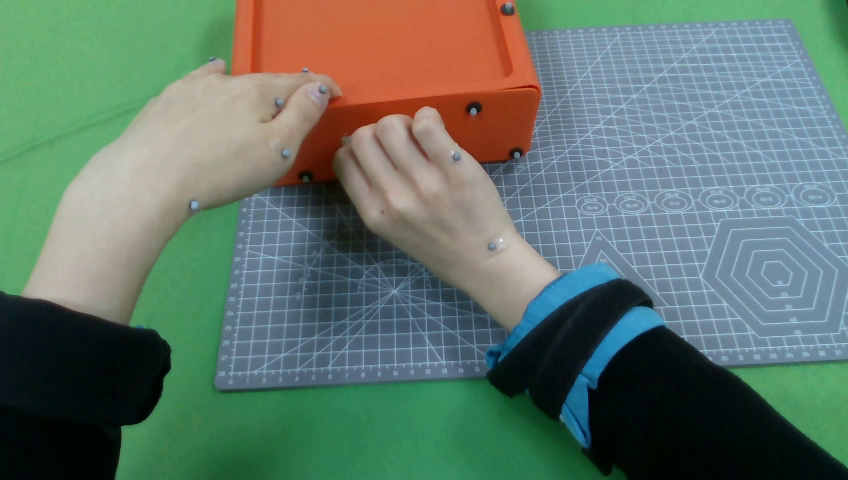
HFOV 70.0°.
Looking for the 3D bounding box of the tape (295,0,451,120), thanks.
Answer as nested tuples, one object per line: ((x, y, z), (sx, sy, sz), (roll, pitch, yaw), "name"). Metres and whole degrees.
((-0.036, -0.152, 0.466), (0.117, 0.053, 0.116), (0, 61, 1), "tape")

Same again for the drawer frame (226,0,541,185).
((-0.036, -0.154, 0.458), (0.202, 0.083, 0.211), (-7, 59, -2), "drawer frame")

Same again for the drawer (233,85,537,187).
((-0.034, -0.150, 0.458), (0.194, 0.074, 0.209), (-7, 59, -2), "drawer")
